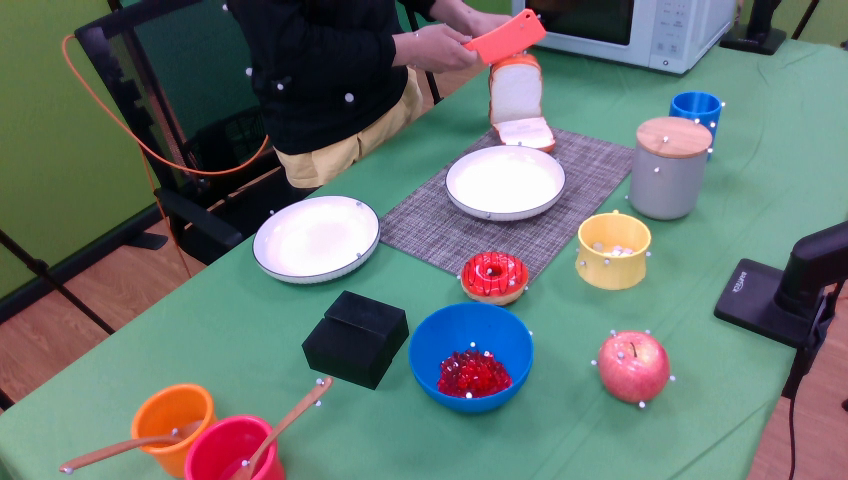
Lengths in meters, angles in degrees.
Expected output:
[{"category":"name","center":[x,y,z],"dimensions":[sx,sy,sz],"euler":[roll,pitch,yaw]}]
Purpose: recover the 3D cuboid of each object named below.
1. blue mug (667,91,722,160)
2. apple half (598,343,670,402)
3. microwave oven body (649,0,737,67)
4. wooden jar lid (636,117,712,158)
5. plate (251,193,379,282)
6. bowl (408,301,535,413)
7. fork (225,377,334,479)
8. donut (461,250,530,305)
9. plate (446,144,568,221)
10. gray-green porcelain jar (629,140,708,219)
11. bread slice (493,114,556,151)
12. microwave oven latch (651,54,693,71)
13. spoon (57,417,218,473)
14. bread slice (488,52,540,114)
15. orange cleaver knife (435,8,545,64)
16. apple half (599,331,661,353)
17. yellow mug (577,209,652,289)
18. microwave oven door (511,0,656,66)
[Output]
[{"category":"blue mug","center":[0.474,-0.207,1.079],"dimensions":[0.082,0.106,0.116],"euler":[4,42,13]},{"category":"apple half","center":[0.247,0.161,0.710],"dimensions":[0.081,0.075,0.053],"euler":[2,47,5]},{"category":"microwave oven body","center":[0.475,-0.602,1.411],"dimensions":[0.438,0.261,0.327],"euler":[23,50,32]},{"category":"wooden jar lid","center":[0.377,-0.151,0.917],"dimensions":[0.108,0.021,0.108],"euler":[-2,41,3]},{"category":"plate","center":[-0.174,-0.001,0.984],"dimensions":[0.209,0.038,0.208],"euler":[-4,40,4]},{"category":"bowl","center":[0.060,0.156,0.739],"dimensions":[0.151,0.077,0.150],"euler":[-4,40,4]},{"category":"fork","center":[-0.163,0.216,0.646],"dimensions":[0.207,0.019,0.028],"euler":[-49,42,16]},{"category":"donut","center":[0.103,0.053,0.872],"dimensions":[0.099,0.048,0.098],"euler":[-5,40,4]},{"category":"plate","center":[0.142,-0.096,1.045],"dimensions":[0.207,0.039,0.206],"euler":[-4,40,4]},{"category":"gray-green porcelain jar","center":[0.383,-0.105,0.958],"dimensions":[0.106,0.127,0.105],"euler":[-4,41,4]},{"category":"bread slice","center":[0.196,-0.205,1.169],"dimensions":[0.105,0.019,0.131],"euler":[-6,37,0]},{"category":"microwave oven latch","center":[0.532,-0.386,1.301],"dimensions":[0.078,0.029,0.030],"euler":[26,52,34]},{"category":"spoon","center":[-0.304,0.221,0.661],"dimensions":[0.041,0.195,0.021],"euler":[19,92,27]},{"category":"bread slice","center":[0.185,-0.318,1.231],"dimensions":[0.107,0.135,0.018],"euler":[-4,45,2]},{"category":"orange cleaver knife","center":[0.127,-0.375,1.158],"dimensions":[0.211,0.078,0.012],"euler":[-21,43,10]},{"category":"apple half","center":[0.249,0.134,0.738],"dimensions":[0.081,0.081,0.032],"euler":[-2,46,7]},{"category":"yellow mug","center":[0.279,0.004,0.893],"dimensions":[0.099,0.064,0.130],"euler":[5,41,15]},{"category":"microwave oven door","center":[0.351,-0.540,1.349],"dimensions":[0.353,0.245,0.039],"euler":[24,50,31]}]
